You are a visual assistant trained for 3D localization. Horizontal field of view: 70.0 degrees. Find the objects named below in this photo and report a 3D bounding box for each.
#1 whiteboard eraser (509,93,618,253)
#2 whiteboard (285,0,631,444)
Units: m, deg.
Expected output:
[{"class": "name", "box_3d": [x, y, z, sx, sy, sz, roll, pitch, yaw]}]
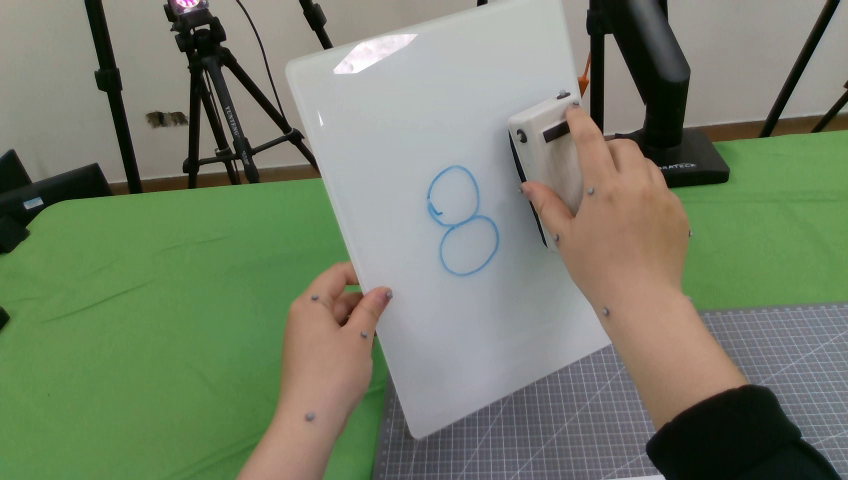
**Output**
[{"class": "whiteboard eraser", "box_3d": [0.105, -0.050, 0.462, 0.055, 0.113, 0.041, -26, 18, -13]}, {"class": "whiteboard", "box_3d": [0.025, -0.027, 0.529, 0.217, 0.307, 0.143, -22, 18, -15]}]
